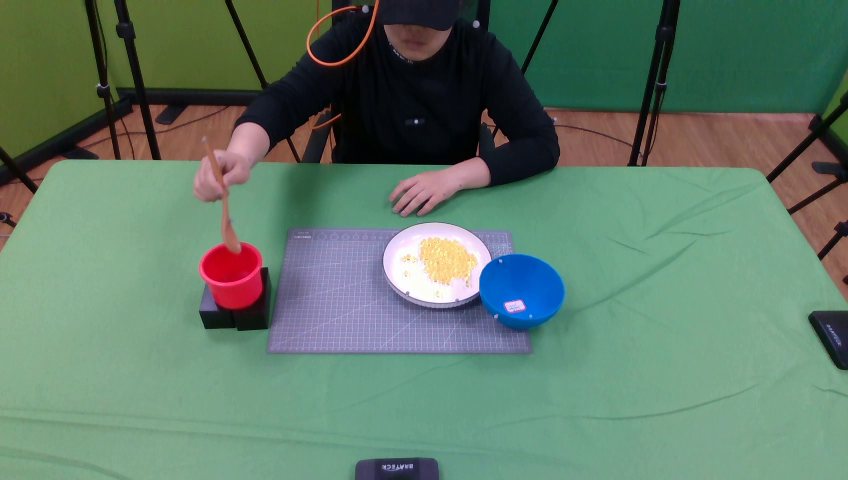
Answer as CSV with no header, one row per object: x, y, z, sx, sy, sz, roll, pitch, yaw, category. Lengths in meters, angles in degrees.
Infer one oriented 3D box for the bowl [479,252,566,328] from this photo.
0.167,0.103,1.067,0.151,0.077,0.150,2,46,-2,bowl

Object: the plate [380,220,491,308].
0.022,0.048,1.137,0.208,0.039,0.206,2,46,-2,plate

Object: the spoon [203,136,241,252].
-0.317,-0.069,0.953,0.021,0.194,0.041,-1,24,5,spoon
